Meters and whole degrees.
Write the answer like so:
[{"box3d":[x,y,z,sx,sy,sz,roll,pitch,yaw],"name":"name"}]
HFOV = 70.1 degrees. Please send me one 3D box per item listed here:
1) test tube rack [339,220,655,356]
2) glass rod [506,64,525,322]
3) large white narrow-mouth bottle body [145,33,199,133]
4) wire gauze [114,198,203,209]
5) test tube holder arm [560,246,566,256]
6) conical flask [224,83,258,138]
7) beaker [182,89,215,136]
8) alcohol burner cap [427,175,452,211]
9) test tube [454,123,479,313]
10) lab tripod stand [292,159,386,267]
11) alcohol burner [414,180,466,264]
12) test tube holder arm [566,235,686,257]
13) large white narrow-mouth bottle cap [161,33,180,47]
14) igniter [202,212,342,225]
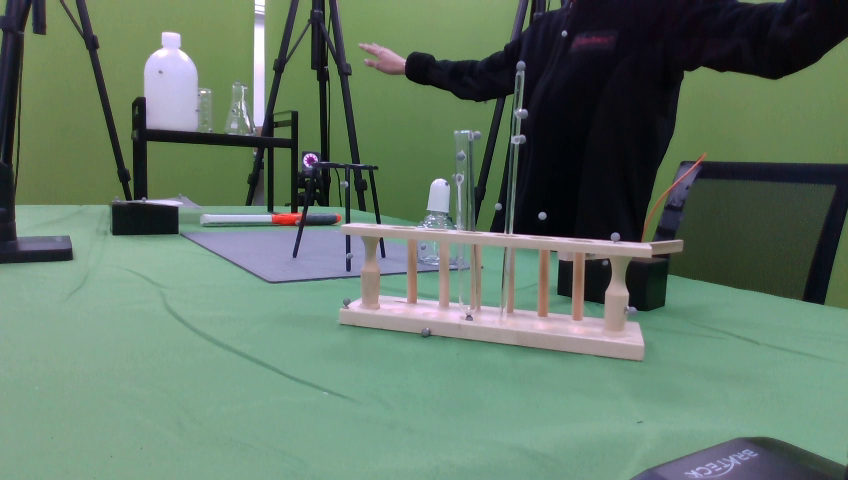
[{"box3d":[0.056,0.032,0.495,0.242,0.085,0.067,4,7,15],"name":"test tube rack"},{"box3d":[0.069,-0.030,0.458,0.008,0.199,0.008,0,15,0],"name":"glass rod"},{"box3d":[-0.513,-0.318,1.231,0.102,0.194,0.102,2,7,0],"name":"large white narrow-mouth bottle body"},{"box3d":[-0.447,-0.062,1.015,0.126,0.011,0.121,-1,8,-31],"name":"wire gauze"},{"box3d":[0.173,0.007,0.612,0.088,0.015,0.010,-3,9,-30],"name":"test tube holder arm"},{"box3d":[-0.422,-0.299,1.395,0.075,0.122,0.075,2,7,0],"name":"conical flask"},{"box3d":[-0.511,-0.285,1.353,0.084,0.100,0.073,-2,8,-25],"name":"beaker"},{"box3d":[0.023,-0.064,0.822,0.034,0.048,0.034,7,5,0],"name":"alcohol burner cap"},{"box3d":[0.034,-0.016,0.477,0.017,0.150,0.017,-2,9,1],"name":"test tube"},{"box3d":[-0.105,-0.039,0.798,0.148,0.131,0.148,2,5,0],"name":"lab tripod stand"},{"box3d":[0.021,-0.028,0.826,0.078,0.119,0.078,0,6,0],"name":"alcohol burner"},{"box3d":[0.215,0.006,0.630,0.179,0.015,0.013,-3,9,-31],"name":"test tube holder arm"},{"box3d":[-0.511,-0.402,1.220,0.038,0.024,0.037,2,7,0],"name":"large white narrow-mouth bottle cap"},{"box3d":[-0.298,-0.044,1.216,0.278,0.025,0.057,-2,-2,-32],"name":"igniter"}]
